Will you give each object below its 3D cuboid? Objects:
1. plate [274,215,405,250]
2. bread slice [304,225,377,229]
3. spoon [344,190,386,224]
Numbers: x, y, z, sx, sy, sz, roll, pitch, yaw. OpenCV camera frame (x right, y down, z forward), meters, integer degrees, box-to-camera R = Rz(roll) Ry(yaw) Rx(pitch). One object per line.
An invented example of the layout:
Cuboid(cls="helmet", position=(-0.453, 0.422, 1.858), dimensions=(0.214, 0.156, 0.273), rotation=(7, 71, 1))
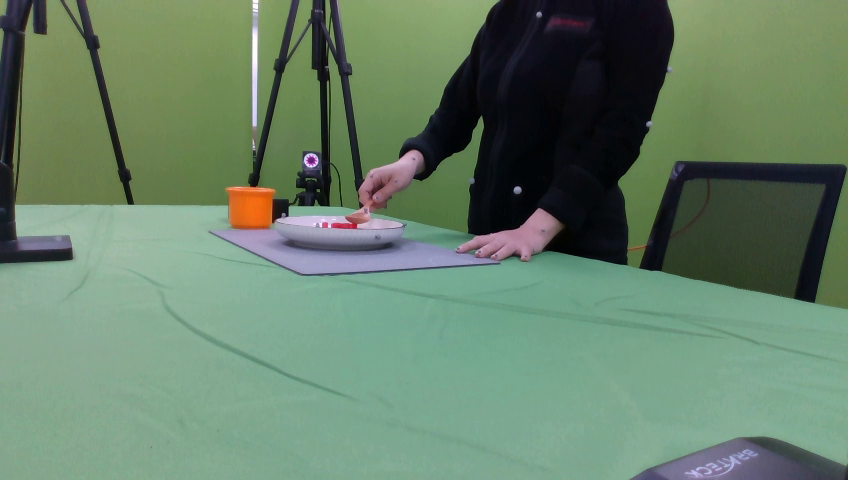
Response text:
Cuboid(cls="plate", position=(-0.136, -0.013, 0.981), dimensions=(0.209, 0.038, 0.209), rotation=(2, 7, 0))
Cuboid(cls="bread slice", position=(-0.133, -0.011, 0.974), dimensions=(0.135, 0.018, 0.106), rotation=(-3, 8, -33))
Cuboid(cls="spoon", position=(-0.093, -0.062, 1.046), dimensions=(0.041, 0.021, 0.194), rotation=(8, 24, 10))
